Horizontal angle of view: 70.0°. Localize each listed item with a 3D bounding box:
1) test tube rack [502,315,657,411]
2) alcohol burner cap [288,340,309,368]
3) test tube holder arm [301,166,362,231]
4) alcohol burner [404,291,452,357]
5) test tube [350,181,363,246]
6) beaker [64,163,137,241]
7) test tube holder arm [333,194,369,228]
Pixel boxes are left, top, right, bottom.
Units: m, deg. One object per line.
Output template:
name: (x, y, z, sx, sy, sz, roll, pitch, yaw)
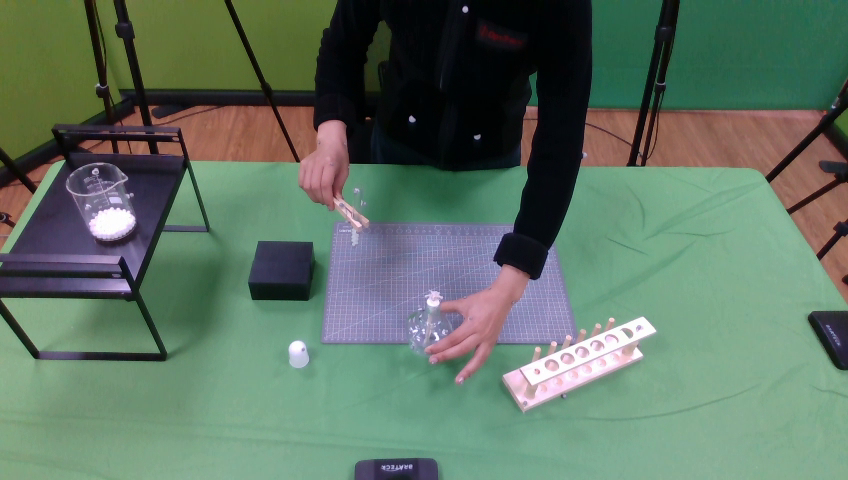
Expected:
test tube rack: (0.253, 0.187, 0.988, 0.242, 0.085, 0.066, -18, 50, -20)
alcohol burner cap: (-0.207, 0.183, 0.991, 0.034, 0.048, 0.033, 3, 47, -3)
test tube holder arm: (-0.162, -0.074, 1.044, 0.013, 0.015, 0.177, -27, 56, -34)
alcohol burner: (0.008, 0.127, 0.952, 0.078, 0.119, 0.077, 5, 38, -4)
test tube: (-0.113, -0.040, 1.009, 0.017, 0.151, 0.017, 5, 50, -6)
beaker: (-0.477, -0.055, 0.910, 0.084, 0.101, 0.073, -9, 48, -13)
test tube holder arm: (-0.127, -0.050, 1.027, 0.087, 0.015, 0.010, 37, 49, 23)
